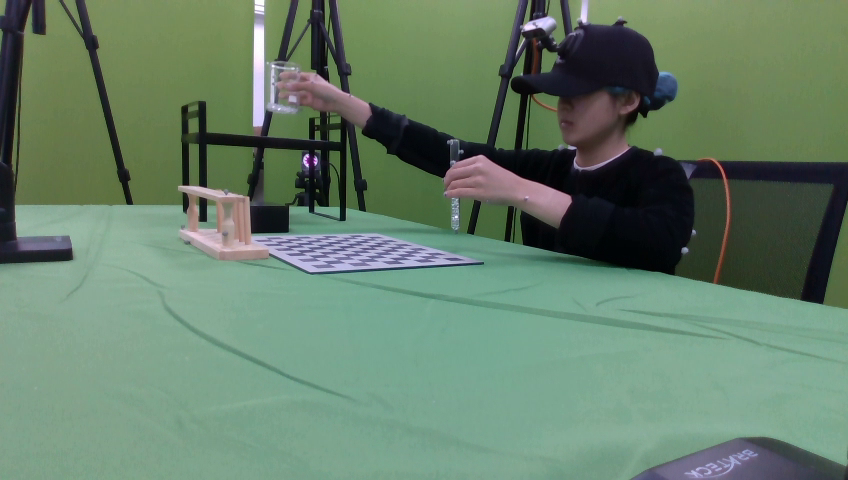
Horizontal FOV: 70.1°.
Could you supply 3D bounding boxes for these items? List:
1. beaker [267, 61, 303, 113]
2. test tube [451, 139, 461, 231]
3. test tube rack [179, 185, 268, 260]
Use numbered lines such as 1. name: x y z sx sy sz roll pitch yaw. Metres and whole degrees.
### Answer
1. beaker: -0.298 -0.324 1.284 0.073 0.100 0.084 7 7 26
2. test tube: 0.052 -0.090 0.989 0.017 0.150 0.017 -1 9 0
3. test tube rack: -0.303 -0.031 0.898 0.067 0.085 0.241 -2 9 -33
